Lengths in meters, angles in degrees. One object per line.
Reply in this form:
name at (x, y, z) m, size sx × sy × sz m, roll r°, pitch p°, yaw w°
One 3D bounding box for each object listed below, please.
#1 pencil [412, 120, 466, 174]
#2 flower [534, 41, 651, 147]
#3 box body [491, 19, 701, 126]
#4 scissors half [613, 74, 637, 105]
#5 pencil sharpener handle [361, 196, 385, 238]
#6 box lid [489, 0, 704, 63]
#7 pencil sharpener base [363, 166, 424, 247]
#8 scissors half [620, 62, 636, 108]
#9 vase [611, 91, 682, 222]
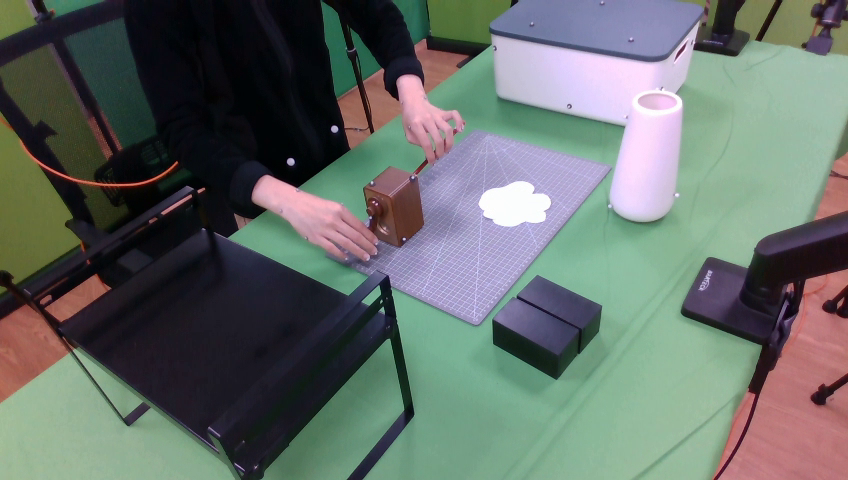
pencil at (0.022, -0.154, 1.033) m, size 0.012 × 0.012 × 0.194 m, roll 18°, pitch 48°, yaw 27°
flower at (0.364, -0.319, 1.318) m, size 0.038 × 0.044 × 0.359 m, roll -4°, pitch 48°, yaw -50°
box body at (0.352, -0.384, 1.268) m, size 0.361 × 0.161 × 0.255 m, roll 21°, pitch 48°, yaw 29°
scissors half at (0.427, -0.330, 1.306) m, size 0.013 × 0.040 × 0.174 m, roll 31°, pitch 31°, yaw -14°
pencil sharpener handle at (-0.084, -0.034, 0.937) m, size 0.036 × 0.068 × 0.031 m, roll 31°, pitch 53°, yaw 20°
box lid at (0.345, -0.441, 1.217) m, size 0.369 × 0.015 × 0.264 m, roll 21°, pitch 49°, yaw 29°
pencil sharpener base at (-0.049, -0.052, 0.973) m, size 0.061 × 0.107 × 0.077 m, roll 22°, pitch 49°, yaw 30°
scissors half at (0.434, -0.340, 1.298) m, size 0.013 × 0.040 × 0.174 m, roll 25°, pitch 42°, yaw -12°
vase at (0.348, -0.125, 0.935) m, size 0.098 × 0.201 × 0.097 m, roll -3°, pitch 40°, yaw 3°
